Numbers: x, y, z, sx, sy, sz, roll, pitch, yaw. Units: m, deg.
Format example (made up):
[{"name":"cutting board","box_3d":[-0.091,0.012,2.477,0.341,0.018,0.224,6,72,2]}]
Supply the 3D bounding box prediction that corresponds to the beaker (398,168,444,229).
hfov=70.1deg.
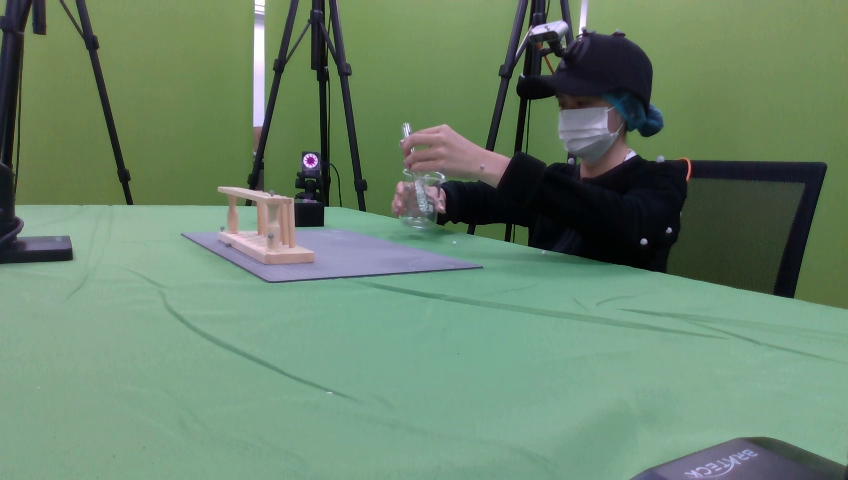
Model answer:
[{"name":"beaker","box_3d":[-0.007,-0.075,1.106,0.084,0.100,0.074,15,21,20]}]

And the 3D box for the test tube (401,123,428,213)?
[{"name":"test tube","box_3d":[-0.015,-0.113,0.943,0.017,0.150,0.017,-11,-16,-3]}]

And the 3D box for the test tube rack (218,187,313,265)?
[{"name":"test tube rack","box_3d":[-0.235,-0.027,0.872,0.067,0.085,0.241,-2,8,-32]}]
